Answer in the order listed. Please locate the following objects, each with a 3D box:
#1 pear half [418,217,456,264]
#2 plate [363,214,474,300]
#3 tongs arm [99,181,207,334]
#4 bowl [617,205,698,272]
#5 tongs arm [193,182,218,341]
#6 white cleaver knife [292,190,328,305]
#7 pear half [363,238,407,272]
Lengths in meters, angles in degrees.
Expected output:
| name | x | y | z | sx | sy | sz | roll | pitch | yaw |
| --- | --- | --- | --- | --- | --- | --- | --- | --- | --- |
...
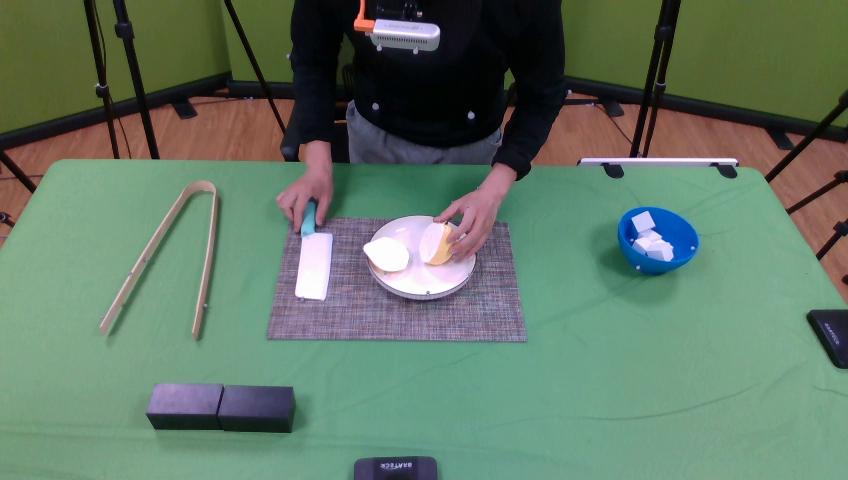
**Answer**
| name | x | y | z | sx | sy | sz | roll | pitch | yaw |
| --- | --- | --- | --- | --- | --- | --- | --- | --- | --- |
| pear half | 0.035 | -0.003 | 1.127 | 0.056 | 0.110 | 0.076 | 3 | 52 | -28 |
| plate | -0.010 | 0.036 | 1.146 | 0.208 | 0.039 | 0.206 | 2 | 46 | -2 |
| tongs arm | -0.494 | 0.018 | 1.132 | 0.051 | 0.026 | 0.382 | 7 | 45 | 0 |
| bowl | 0.442 | 0.010 | 1.181 | 0.151 | 0.077 | 0.150 | 2 | 46 | -2 |
| tongs arm | -0.413 | 0.025 | 1.140 | 0.028 | 0.028 | 0.385 | -5 | 47 | -7 |
| white cleaver knife | -0.220 | 0.009 | 1.182 | 0.066 | 0.021 | 0.284 | 17 | 44 | -25 |
| pear half | -0.077 | 0.032 | 1.137 | 0.088 | 0.031 | 0.070 | 17 | 46 | -13 |
